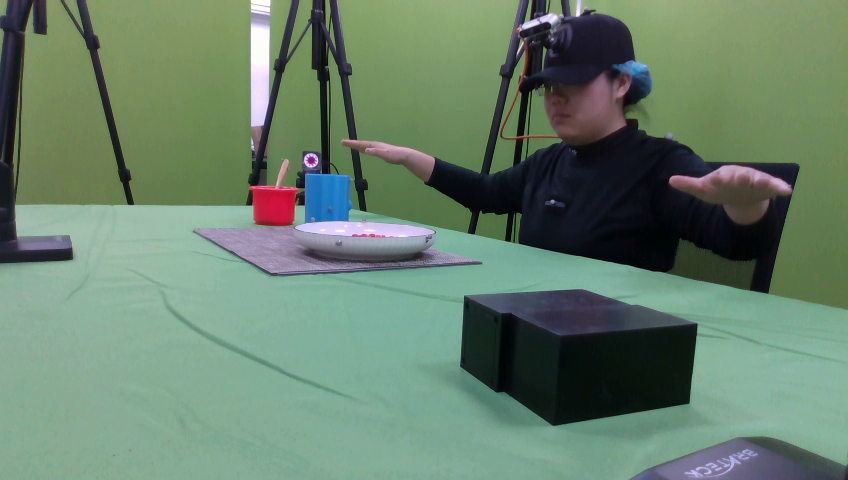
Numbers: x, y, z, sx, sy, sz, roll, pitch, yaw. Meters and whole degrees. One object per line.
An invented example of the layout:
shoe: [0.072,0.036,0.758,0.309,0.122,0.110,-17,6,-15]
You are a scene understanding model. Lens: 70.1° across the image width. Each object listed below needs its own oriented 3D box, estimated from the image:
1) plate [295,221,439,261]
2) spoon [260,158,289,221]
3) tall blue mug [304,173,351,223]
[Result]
plate: [-0.083,0.001,0.885,0.208,0.039,0.207,2,7,0]
spoon: [-0.308,-0.110,1.277,0.041,0.021,0.193,0,51,6]
tall blue mug: [-0.178,-0.063,1.062,0.078,0.108,0.106,-5,10,-38]
